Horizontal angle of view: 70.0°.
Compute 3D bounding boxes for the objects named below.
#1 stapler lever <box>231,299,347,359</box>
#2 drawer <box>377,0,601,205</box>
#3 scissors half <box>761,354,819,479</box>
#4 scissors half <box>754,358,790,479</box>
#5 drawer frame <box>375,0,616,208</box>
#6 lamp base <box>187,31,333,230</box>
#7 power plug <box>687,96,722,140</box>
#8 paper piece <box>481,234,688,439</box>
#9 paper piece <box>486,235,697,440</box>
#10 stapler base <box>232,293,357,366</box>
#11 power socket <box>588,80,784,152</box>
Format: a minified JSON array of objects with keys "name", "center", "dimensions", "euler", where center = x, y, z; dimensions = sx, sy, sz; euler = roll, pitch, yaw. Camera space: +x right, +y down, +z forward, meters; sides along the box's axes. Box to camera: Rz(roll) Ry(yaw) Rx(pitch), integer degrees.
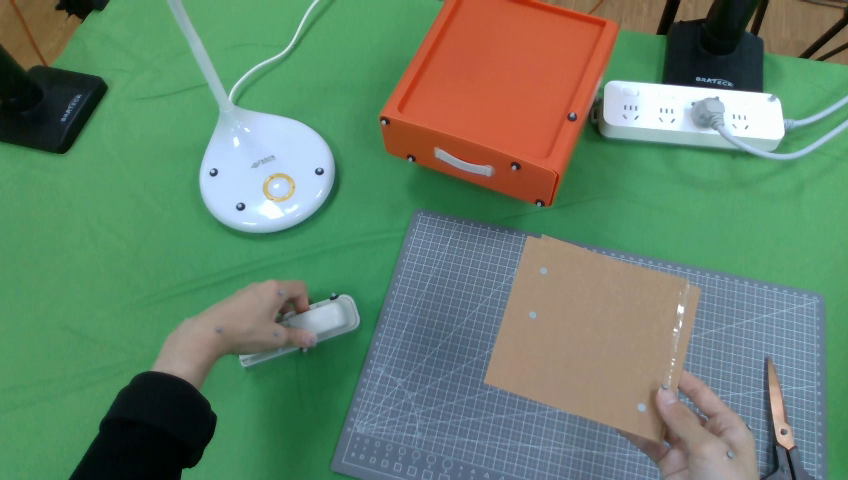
[{"name":"stapler lever","center":[-0.135,0.089,0.605],"dimensions":[0.118,0.040,0.026],"euler":[-19,81,-5]},{"name":"drawer","center":[0.081,-0.165,0.677],"dimensions":[0.194,0.074,0.210],"euler":[20,65,13]},{"name":"scissors half","center":[0.346,0.191,0.570],"dimensions":[0.040,0.013,0.173],"euler":[-2,61,-4]},{"name":"scissors half","center":[0.326,0.189,0.569],"dimensions":[0.040,0.013,0.174],"euler":[15,60,0]},{"name":"drawer frame","center":[0.082,-0.169,0.682],"dimensions":[0.201,0.083,0.212],"euler":[20,67,13]},{"name":"lamp base","center":[-0.202,-0.126,0.663],"dimensions":[0.160,0.182,0.177],"euler":[-38,64,-16]},{"name":"power plug","center":[0.321,-0.135,0.701],"dimensions":[0.035,0.053,0.072],"euler":[17,65,11]},{"name":"paper piece","center":[0.129,0.070,0.480],"dimensions":[0.135,0.009,0.137],"euler":[16,67,12]},{"name":"paper piece","center":[0.138,0.072,0.493],"dimensions":[0.134,0.004,0.135],"euler":[20,67,20]},{"name":"stapler base","center":[-0.135,0.092,0.631],"dimensions":[0.130,0.024,0.041],"euler":[-19,82,-6]},{"name":"power socket","center":[0.317,-0.151,0.735],"dimensions":[0.226,0.033,0.071],"euler":[7,64,6]}]
